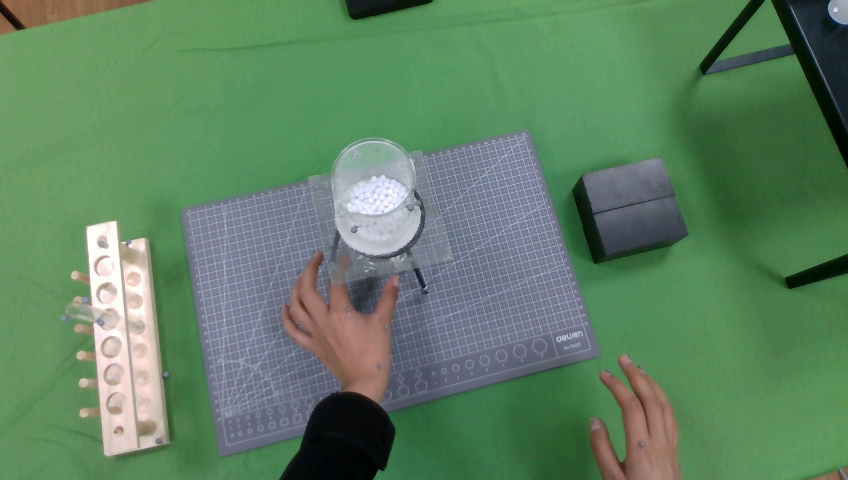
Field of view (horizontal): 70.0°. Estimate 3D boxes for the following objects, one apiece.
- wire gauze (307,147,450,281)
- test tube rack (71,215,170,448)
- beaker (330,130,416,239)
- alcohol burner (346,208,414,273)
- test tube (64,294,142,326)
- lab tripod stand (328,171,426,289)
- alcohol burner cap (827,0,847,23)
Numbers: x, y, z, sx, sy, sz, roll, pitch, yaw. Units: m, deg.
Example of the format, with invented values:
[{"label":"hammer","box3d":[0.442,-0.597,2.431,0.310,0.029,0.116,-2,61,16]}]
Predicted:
[{"label":"wire gauze","box3d":[-0.047,-0.027,0.612,0.125,0.011,0.121,-12,77,-6]},{"label":"test tube rack","box3d":[-0.344,0.103,0.671,0.067,0.085,0.241,-11,77,-4]},{"label":"beaker","box3d":[-0.047,-0.044,0.567,0.074,0.100,0.084,41,78,9]},{"label":"alcohol burner","box3d":[-0.050,-0.004,0.685,0.078,0.119,0.077,1,75,-2]},{"label":"test tube","box3d":[-0.327,0.075,0.627,0.017,0.151,0.017,1,76,-3]},{"label":"lab tripod stand","box3d":[-0.045,-0.016,0.678,0.148,0.132,0.147,0,74,1]},{"label":"alcohol burner cap","box3d":[0.434,-0.245,0.606,0.034,0.048,0.033,1,75,-2]}]
